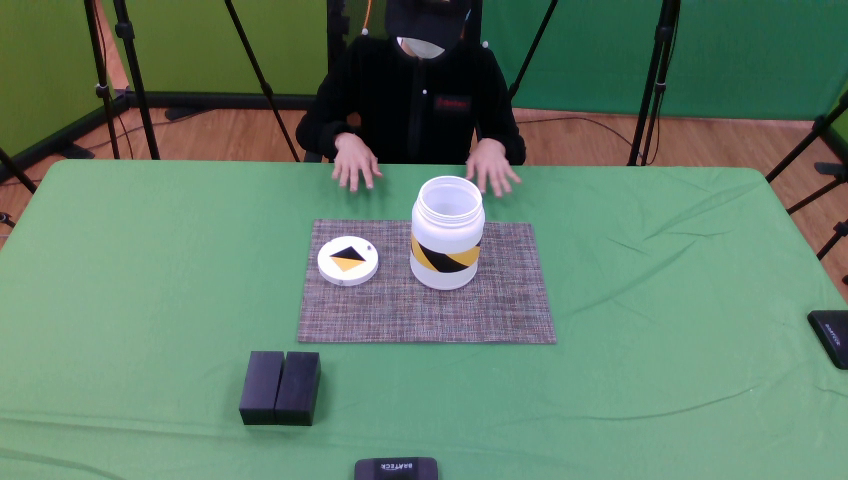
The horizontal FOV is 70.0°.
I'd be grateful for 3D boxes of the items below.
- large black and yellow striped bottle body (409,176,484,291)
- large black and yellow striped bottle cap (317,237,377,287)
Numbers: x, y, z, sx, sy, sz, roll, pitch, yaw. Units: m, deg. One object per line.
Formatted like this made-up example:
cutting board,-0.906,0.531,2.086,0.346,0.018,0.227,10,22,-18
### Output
large black and yellow striped bottle body,0.040,-0.012,1.095,0.131,0.185,0.130,2,46,-2
large black and yellow striped bottle cap,-0.146,0.040,1.148,0.115,0.019,0.114,2,47,-2
